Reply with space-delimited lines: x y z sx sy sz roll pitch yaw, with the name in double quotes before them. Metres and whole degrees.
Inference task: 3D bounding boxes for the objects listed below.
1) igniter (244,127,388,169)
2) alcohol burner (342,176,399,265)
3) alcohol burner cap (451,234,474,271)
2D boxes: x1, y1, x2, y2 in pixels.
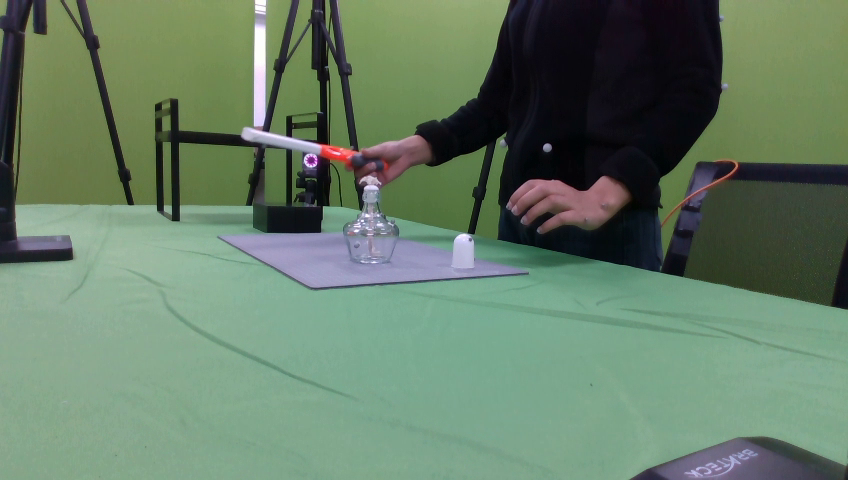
"igniter" -0.175 -0.155 1.043 0.278 0.025 0.057 7 15 -45
"alcohol burner" -0.073 -0.027 0.818 0.078 0.119 0.078 1 6 0
"alcohol burner cap" 0.053 0.015 0.808 0.034 0.048 0.034 4 9 0
